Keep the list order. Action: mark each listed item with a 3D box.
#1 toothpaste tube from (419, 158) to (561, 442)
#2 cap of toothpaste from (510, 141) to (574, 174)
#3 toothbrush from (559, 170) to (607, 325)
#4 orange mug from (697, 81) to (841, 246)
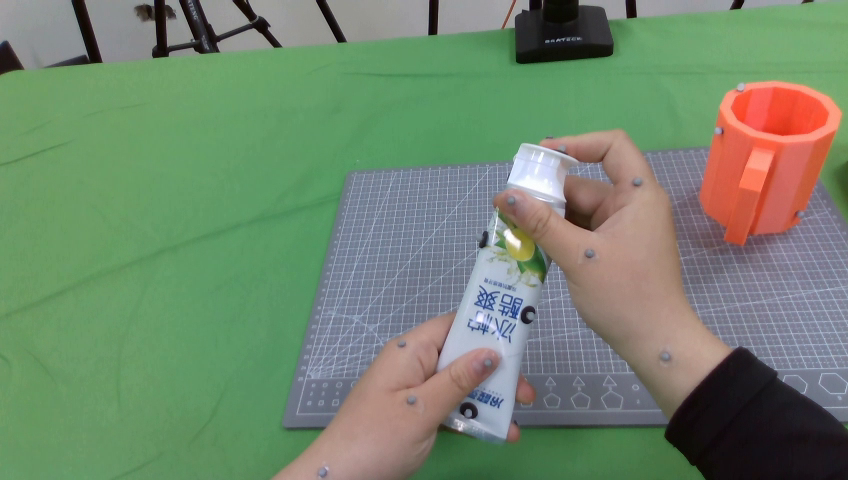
[{"bbox_3d":[0.043,0.029,0.346,0.055,0.035,0.165,16,93,20],"label":"toothpaste tube"},{"bbox_3d":[0.066,-0.045,0.341,0.037,0.037,0.011,22,96,29],"label":"cap of toothpaste"},{"bbox_3d":[0.133,-0.002,0.524,0.014,0.017,0.180,2,45,-4],"label":"toothbrush"},{"bbox_3d":[0.273,-0.057,0.495,0.083,0.102,0.126,19,47,27],"label":"orange mug"}]
